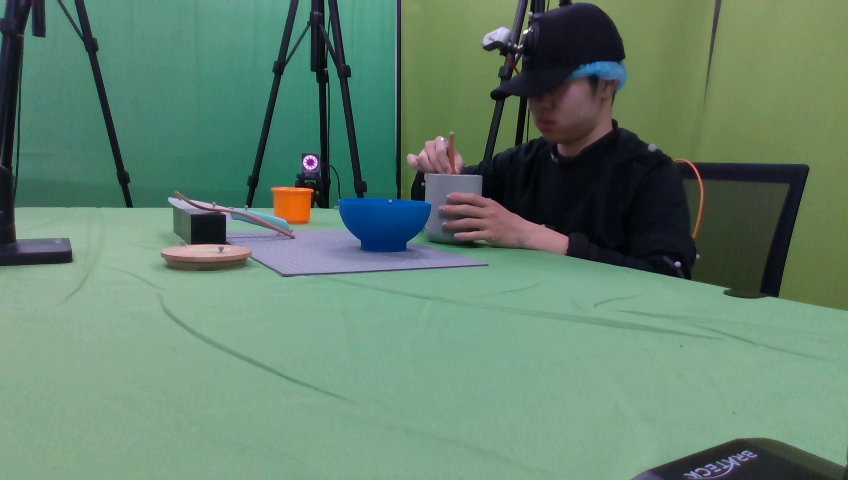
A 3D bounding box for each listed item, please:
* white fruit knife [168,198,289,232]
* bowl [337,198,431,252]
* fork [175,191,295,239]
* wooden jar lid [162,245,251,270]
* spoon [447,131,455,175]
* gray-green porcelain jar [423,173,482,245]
[{"bbox_3d":[-0.329,-0.044,1.036,0.208,0.027,0.016,14,-1,-32],"label":"white fruit knife"},{"bbox_3d":[-0.065,-0.024,0.967,0.151,0.077,0.151,2,7,0],"label":"bowl"},{"bbox_3d":[-0.305,-0.039,0.993,0.208,0.018,0.028,19,-9,-34],"label":"fork"},{"bbox_3d":[-0.278,0.022,0.777,0.108,0.020,0.108,2,6,0],"label":"wooden jar lid"},{"bbox_3d":[0.049,-0.101,1.100,0.022,0.193,0.041,-5,18,-17],"label":"spoon"},{"bbox_3d":[0.052,-0.058,1.116,0.106,0.126,0.106,3,7,0],"label":"gray-green porcelain jar"}]
